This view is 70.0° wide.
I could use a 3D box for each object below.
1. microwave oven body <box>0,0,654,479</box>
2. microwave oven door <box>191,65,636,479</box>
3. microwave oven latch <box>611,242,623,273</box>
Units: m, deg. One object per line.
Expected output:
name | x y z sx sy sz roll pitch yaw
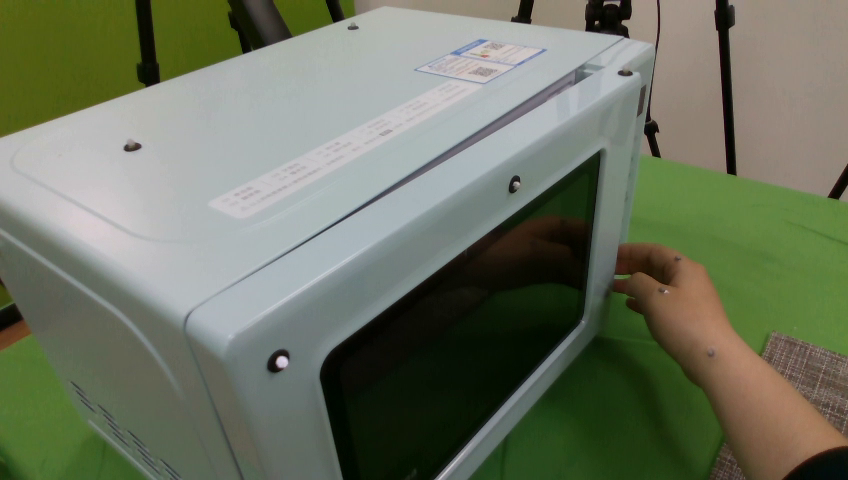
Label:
microwave oven body | -0.060 -0.012 0.519 0.323 0.262 0.441 21 42 32
microwave oven door | 0.036 0.050 0.407 0.039 0.246 0.355 23 43 34
microwave oven latch | 0.172 0.028 0.609 0.030 0.030 0.079 23 43 33
